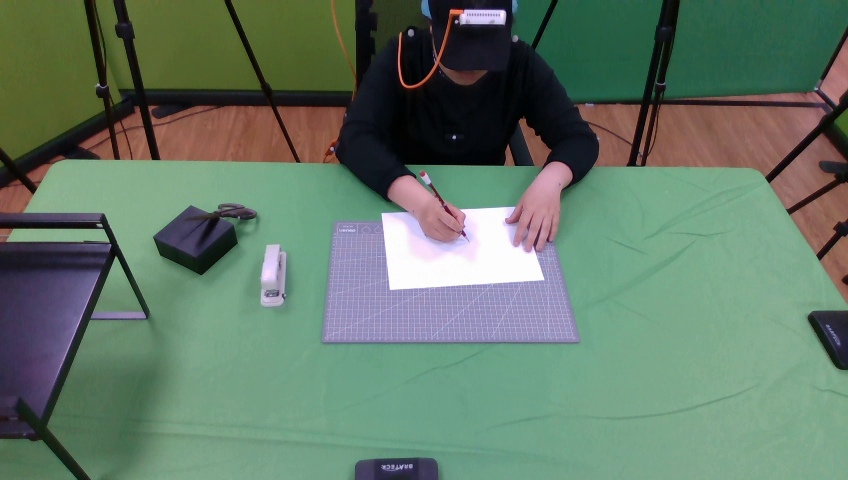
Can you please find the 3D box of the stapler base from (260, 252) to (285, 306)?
[{"bbox_3d":[-0.279,0.064,1.113,0.041,0.024,0.129,-1,44,-9],"label":"stapler base"}]

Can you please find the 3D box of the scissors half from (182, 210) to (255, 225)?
[{"bbox_3d":[-0.389,-0.042,1.158,0.040,0.013,0.175,42,22,21],"label":"scissors half"}]

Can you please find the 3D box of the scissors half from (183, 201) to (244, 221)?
[{"bbox_3d":[-0.405,-0.054,1.163,0.040,0.013,0.175,31,18,7],"label":"scissors half"}]

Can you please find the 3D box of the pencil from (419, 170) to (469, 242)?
[{"bbox_3d":[0.041,-0.061,1.154,0.012,0.195,0.012,-23,36,18],"label":"pencil"}]

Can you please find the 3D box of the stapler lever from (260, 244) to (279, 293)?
[{"bbox_3d":[-0.278,0.045,1.096,0.027,0.040,0.117,-1,44,-9],"label":"stapler lever"}]
